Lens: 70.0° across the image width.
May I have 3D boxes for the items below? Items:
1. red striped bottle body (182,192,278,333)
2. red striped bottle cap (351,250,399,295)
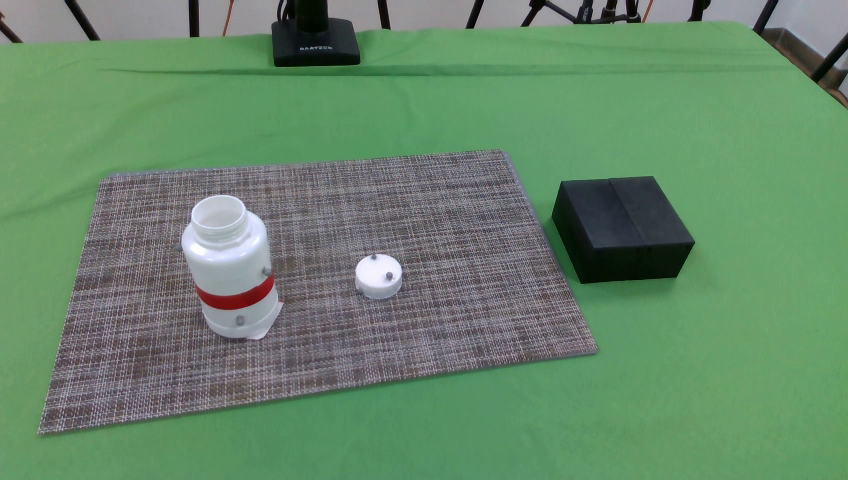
[{"bbox_3d":[-0.157,0.018,0.494,0.063,0.120,0.062,3,45,-2],"label":"red striped bottle body"},{"bbox_3d":[-0.045,0.029,0.567,0.044,0.018,0.044,7,43,-6],"label":"red striped bottle cap"}]
